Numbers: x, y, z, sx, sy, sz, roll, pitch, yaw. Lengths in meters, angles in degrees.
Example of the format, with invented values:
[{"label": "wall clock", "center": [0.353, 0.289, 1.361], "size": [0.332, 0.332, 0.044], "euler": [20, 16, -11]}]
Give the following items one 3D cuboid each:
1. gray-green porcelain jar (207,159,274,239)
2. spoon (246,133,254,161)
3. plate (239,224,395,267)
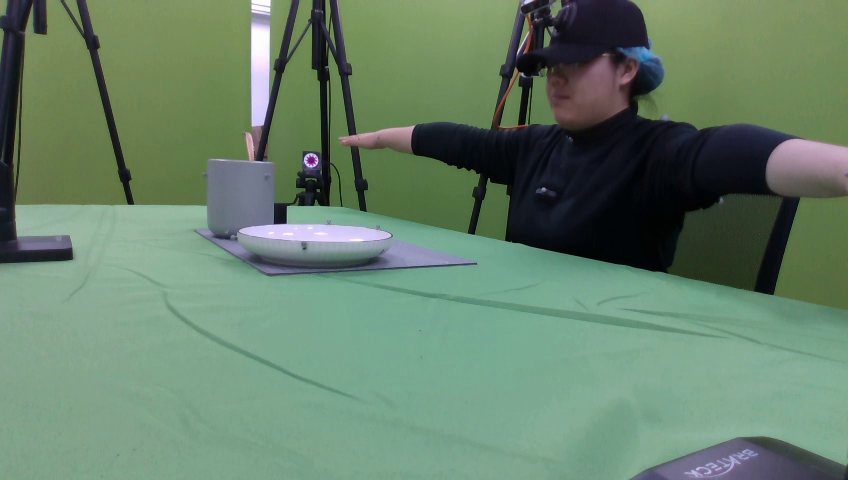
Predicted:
[{"label": "gray-green porcelain jar", "center": [-0.304, -0.068, 1.004], "size": [0.106, 0.126, 0.106], "euler": [3, 7, 0]}, {"label": "spoon", "center": [-0.344, -0.153, 1.209], "size": [0.042, 0.021, 0.193], "euler": [3, 51, -22]}, {"label": "plate", "center": [-0.144, 0.007, 0.823], "size": [0.208, 0.039, 0.207], "euler": [3, 7, 0]}]
